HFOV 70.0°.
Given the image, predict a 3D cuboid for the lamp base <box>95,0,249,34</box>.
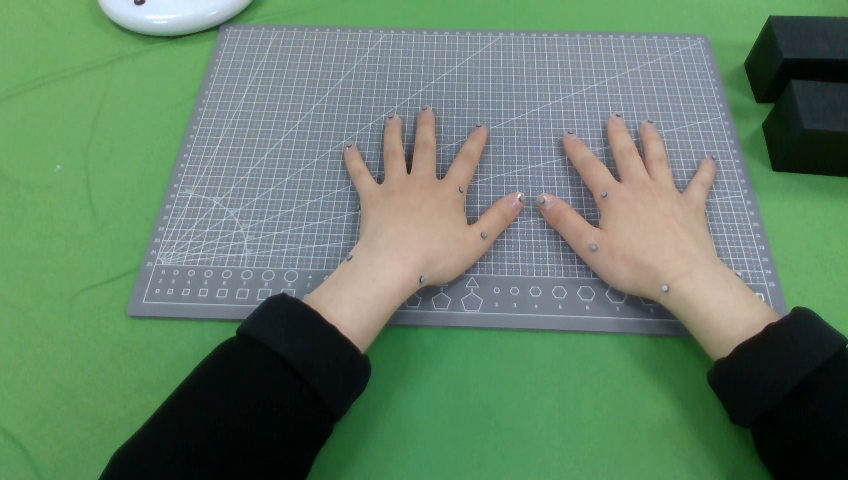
[{"bbox_3d":[-0.248,-0.306,0.529,0.160,0.182,0.177,-35,62,-19],"label":"lamp base"}]
